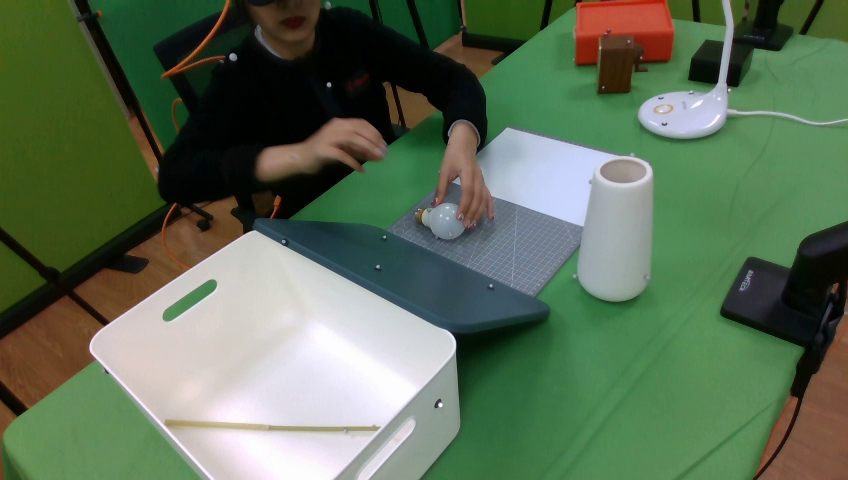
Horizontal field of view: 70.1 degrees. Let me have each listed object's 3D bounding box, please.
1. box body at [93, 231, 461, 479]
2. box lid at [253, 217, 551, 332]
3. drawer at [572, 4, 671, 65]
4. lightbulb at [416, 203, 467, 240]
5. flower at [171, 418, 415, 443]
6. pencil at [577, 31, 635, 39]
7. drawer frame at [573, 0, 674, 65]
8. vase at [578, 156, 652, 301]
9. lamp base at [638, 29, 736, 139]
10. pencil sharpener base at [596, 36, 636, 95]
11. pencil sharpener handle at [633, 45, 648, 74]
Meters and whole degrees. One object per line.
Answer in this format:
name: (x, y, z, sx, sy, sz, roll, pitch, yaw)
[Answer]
box body: (-0.162, 0.170, 0.708, 0.361, 0.161, 0.255, 25, 50, 34)
box lid: (-0.031, 0.037, 0.833, 0.368, 0.015, 0.265, 24, 12, 33)
drawer: (0.461, -0.490, 1.434, 0.211, 0.073, 0.194, 2, 40, 12)
lightbulb: (0.025, -0.034, 0.999, 0.060, 0.060, 0.107, -38, 32, -30)
flower: (-0.154, 0.228, 0.742, 0.360, 0.038, 0.044, -2, 47, 15)
pencil: (0.431, -0.489, 1.443, 0.012, 0.012, 0.192, -25, 30, -18)
drawer frame: (0.464, -0.492, 1.434, 0.213, 0.083, 0.201, 1, 40, 12)
vase: (0.261, -0.011, 0.812, 0.098, 0.201, 0.097, -4, 40, 4)
lamp base: (0.501, -0.302, 1.125, 0.179, 0.181, 0.160, -4, 40, 3)
pencil sharpener base: (0.406, -0.369, 1.280, 0.076, 0.107, 0.061, 1, 41, 13)
pencil sharpener handle: (0.454, -0.378, 1.262, 0.030, 0.068, 0.036, 1, 47, 13)
